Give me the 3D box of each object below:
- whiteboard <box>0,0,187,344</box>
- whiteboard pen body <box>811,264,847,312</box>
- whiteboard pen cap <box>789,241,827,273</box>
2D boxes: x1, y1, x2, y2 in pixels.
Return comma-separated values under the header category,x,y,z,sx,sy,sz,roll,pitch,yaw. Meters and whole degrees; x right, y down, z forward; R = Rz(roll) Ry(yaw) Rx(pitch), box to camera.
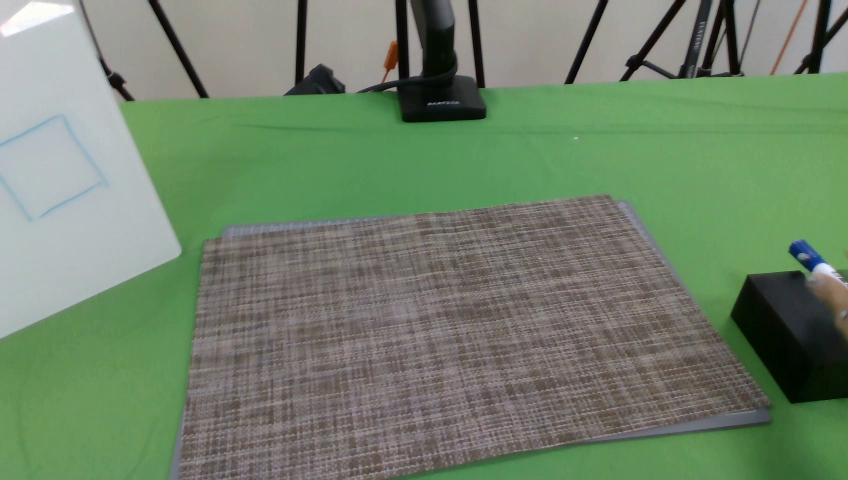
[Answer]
category,x,y,z,sx,sy,sz,roll,pitch,yaw
whiteboard,-0.393,-0.085,0.540,0.217,0.308,0.142,-30,29,-32
whiteboard pen body,0.350,0.055,0.487,0.017,0.017,0.139,-7,40,-8
whiteboard pen cap,0.340,0.017,0.533,0.018,0.018,0.033,-8,39,-10
